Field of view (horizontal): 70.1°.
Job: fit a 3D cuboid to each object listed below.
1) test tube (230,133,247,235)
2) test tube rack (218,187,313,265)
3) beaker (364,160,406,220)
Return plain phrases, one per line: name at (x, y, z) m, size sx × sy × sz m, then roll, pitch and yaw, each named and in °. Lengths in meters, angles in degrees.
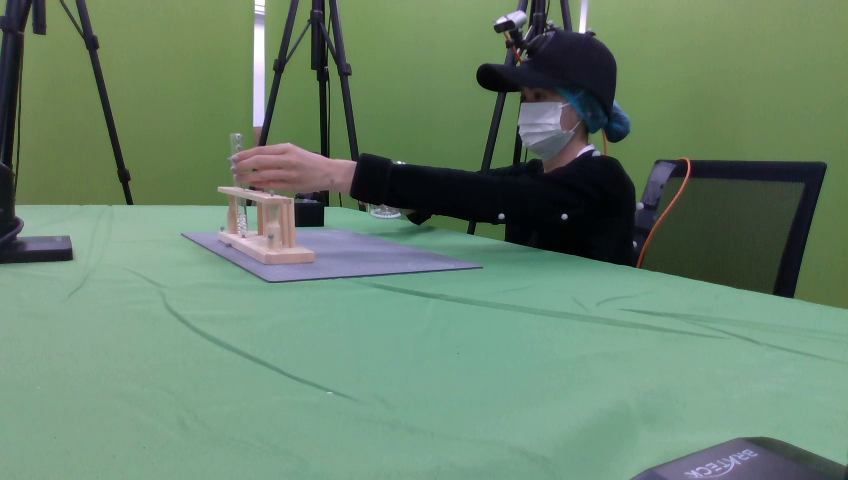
test tube at (-0.273, -0.081, 0.892) m, size 0.017 × 0.150 × 0.017 m, roll -1°, pitch 9°, yaw 0°
test tube rack at (-0.234, -0.027, 0.872) m, size 0.067 × 0.085 × 0.241 m, roll -2°, pitch 8°, yaw -32°
beaker at (-0.070, -0.093, 1.128) m, size 0.083 × 0.100 × 0.074 m, roll 19°, pitch 25°, yaw 40°
